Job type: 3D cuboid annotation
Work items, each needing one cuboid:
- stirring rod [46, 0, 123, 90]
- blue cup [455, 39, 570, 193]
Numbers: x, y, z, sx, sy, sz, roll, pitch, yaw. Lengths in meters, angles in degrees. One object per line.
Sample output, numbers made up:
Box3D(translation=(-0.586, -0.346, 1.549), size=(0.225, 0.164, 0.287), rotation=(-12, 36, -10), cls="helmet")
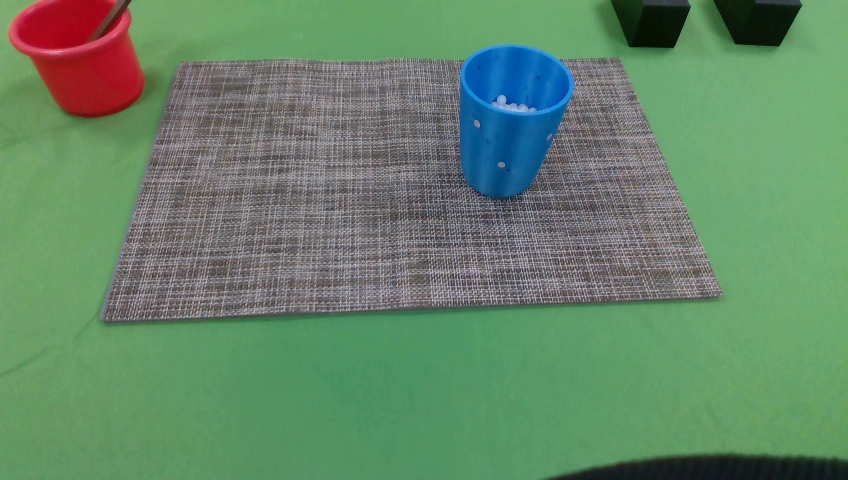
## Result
Box3D(translation=(-0.283, -0.196, 0.532), size=(0.176, 0.006, 0.014), rotation=(-41, 59, 17), cls="stirring rod")
Box3D(translation=(0.063, -0.092, 0.485), size=(0.093, 0.101, 0.091), rotation=(2, 52, -3), cls="blue cup")
